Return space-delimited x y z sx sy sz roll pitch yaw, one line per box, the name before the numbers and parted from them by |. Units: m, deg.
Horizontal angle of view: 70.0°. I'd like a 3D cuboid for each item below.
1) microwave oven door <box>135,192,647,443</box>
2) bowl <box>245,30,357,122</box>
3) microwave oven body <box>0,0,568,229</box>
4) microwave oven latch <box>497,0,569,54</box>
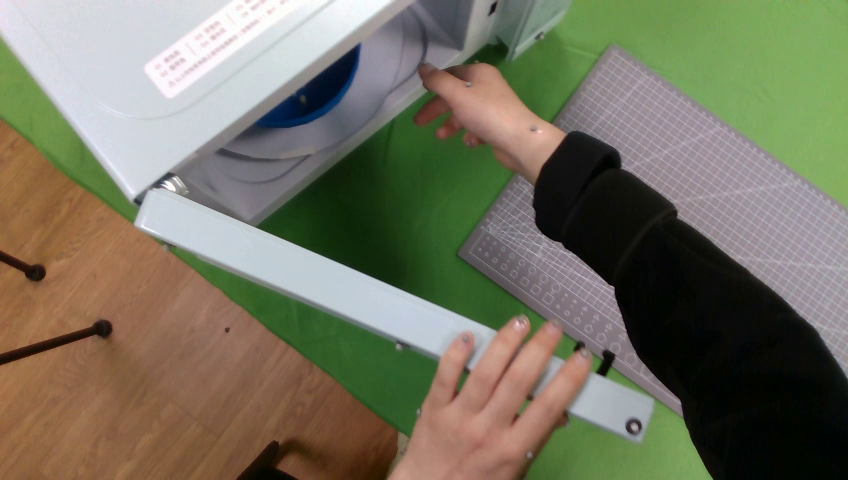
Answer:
microwave oven door | -0.024 0.063 0.503 0.356 0.244 0.039 23 81 1
bowl | -0.134 -0.171 0.564 0.151 0.077 0.150 0 79 -2
microwave oven body | -0.111 -0.249 0.544 0.441 0.260 0.325 -40 86 -6
microwave oven latch | 0.116 -0.236 0.650 0.079 0.029 0.030 -37 86 -6
